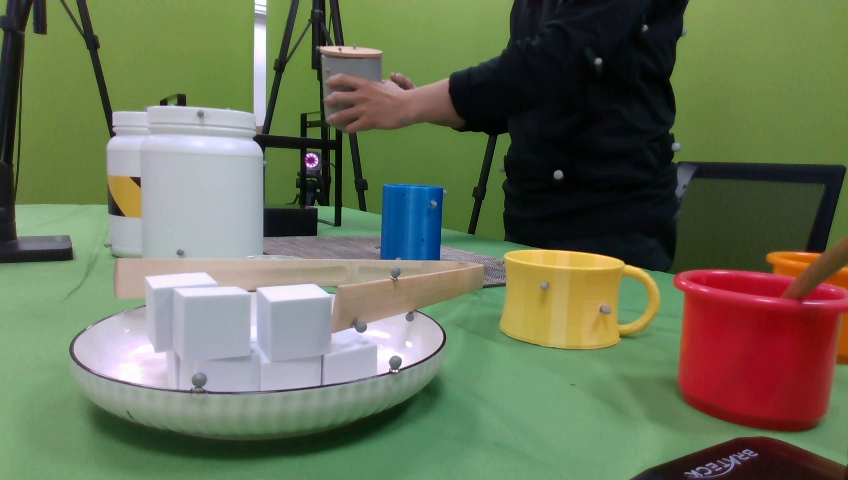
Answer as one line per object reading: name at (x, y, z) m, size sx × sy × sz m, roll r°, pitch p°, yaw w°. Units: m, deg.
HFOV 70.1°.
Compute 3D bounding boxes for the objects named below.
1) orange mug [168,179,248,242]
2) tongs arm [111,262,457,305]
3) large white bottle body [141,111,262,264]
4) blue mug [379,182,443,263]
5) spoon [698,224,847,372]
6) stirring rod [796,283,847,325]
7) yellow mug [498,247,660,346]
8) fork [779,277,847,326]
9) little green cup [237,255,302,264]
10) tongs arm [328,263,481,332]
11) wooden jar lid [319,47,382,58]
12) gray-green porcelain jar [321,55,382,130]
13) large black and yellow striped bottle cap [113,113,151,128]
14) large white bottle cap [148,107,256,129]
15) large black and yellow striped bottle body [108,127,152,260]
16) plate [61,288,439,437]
orange mug at (-0.351, -0.050, 0.986) m, size 0.126 × 0.101 × 0.083 m, roll -3°, pitch 9°, yaw -9°
tongs arm at (-0.080, 0.032, 0.527) m, size 0.028 × 0.027 × 0.389 m, roll -3°, pitch -4°, yaw 33°
large white bottle body at (-0.254, -0.053, 0.697) m, size 0.131 × 0.184 × 0.130 m, roll 2°, pitch 7°, yaw 0°
blue mug at (-0.020, -0.026, 0.833) m, size 0.082 × 0.106 × 0.116 m, roll 1°, pitch 7°, yaw -7°
spoon at (0.195, 0.032, 0.323) m, size 0.041 × 0.021 × 0.194 m, roll 1°, pitch -36°, yaw 2°
stirring rod at (0.347, 0.019, 0.460) m, size 0.014 × 0.176 × 0.006 m, roll -16°, pitch 59°, yaw -26°
yellow mug at (0.130, 0.045, 0.508) m, size 0.131 × 0.064 × 0.100 m, roll 4°, pitch 7°, yaw 6°
fork at (0.335, 0.018, 0.443) m, size 0.028 × 0.018 × 0.207 m, roll -1°, pitch -36°, yaw -20°
little green cup at (-0.150, 0.038, 0.590) m, size 0.061 × 0.038 × 0.061 m, roll 3°, pitch 7°, yaw 0°
tongs arm at (-0.003, 0.036, 0.493) m, size 0.050 × 0.026 × 0.386 m, roll 1°, pitch -1°, yaw 19°
wooden jar lid at (-0.128, -0.323, 1.059) m, size 0.108 × 0.020 × 0.108 m, roll 3°, pitch 23°, yaw -1°
gray-green porcelain jar at (-0.128, -0.266, 1.084) m, size 0.106 × 0.126 × 0.105 m, roll 0°, pitch 23°, yaw 0°
large black and yellow striped bottle cap at (-0.348, -0.154, 0.800) m, size 0.115 × 0.019 × 0.115 m, roll 2°, pitch 6°, yaw 0°
large white bottle cap at (-0.250, -0.137, 0.686) m, size 0.115 × 0.018 × 0.115 m, roll 2°, pitch 8°, yaw 0°
large black and yellow striped bottle body at (-0.350, -0.071, 0.812) m, size 0.131 × 0.184 × 0.130 m, roll 2°, pitch 7°, yaw 0°
plate at (-0.095, 0.069, 0.362) m, size 0.208 × 0.039 × 0.207 m, roll 3°, pitch 7°, yaw 0°
